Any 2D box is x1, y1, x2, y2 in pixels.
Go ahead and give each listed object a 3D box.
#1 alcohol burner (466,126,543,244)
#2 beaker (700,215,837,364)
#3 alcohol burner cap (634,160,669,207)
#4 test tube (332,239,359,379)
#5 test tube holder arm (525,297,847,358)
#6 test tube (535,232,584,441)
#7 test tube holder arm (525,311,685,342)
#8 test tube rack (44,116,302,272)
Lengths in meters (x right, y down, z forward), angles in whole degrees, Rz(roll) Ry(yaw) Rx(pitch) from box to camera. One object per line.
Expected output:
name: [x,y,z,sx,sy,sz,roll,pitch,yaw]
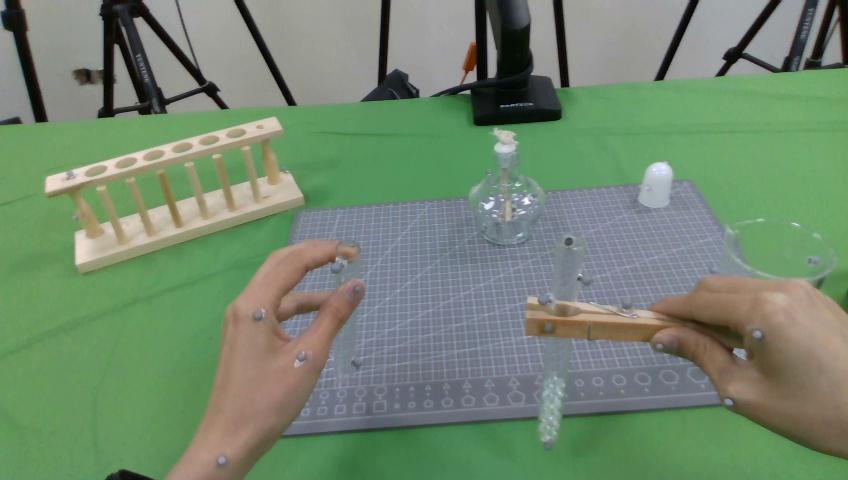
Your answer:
alcohol burner: [0.080,-0.057,0.601,0.078,0.120,0.077,-4,37,4]
beaker: [0.258,0.040,0.473,0.074,0.101,0.083,-23,41,-21]
alcohol burner cap: [0.245,-0.063,0.648,0.034,0.048,0.033,-3,39,3]
test tube: [-0.055,0.054,0.412,0.017,0.151,0.017,5,48,-5]
test tube holder arm: [0.147,0.049,0.343,0.178,0.015,0.013,5,37,12]
test tube: [0.080,0.064,0.364,0.017,0.151,0.017,-1,29,1]
test tube holder arm: [0.102,0.050,0.346,0.088,0.015,0.010,1,36,7]
test tube rack: [-0.267,-0.054,0.665,0.243,0.086,0.066,-19,41,-17]
